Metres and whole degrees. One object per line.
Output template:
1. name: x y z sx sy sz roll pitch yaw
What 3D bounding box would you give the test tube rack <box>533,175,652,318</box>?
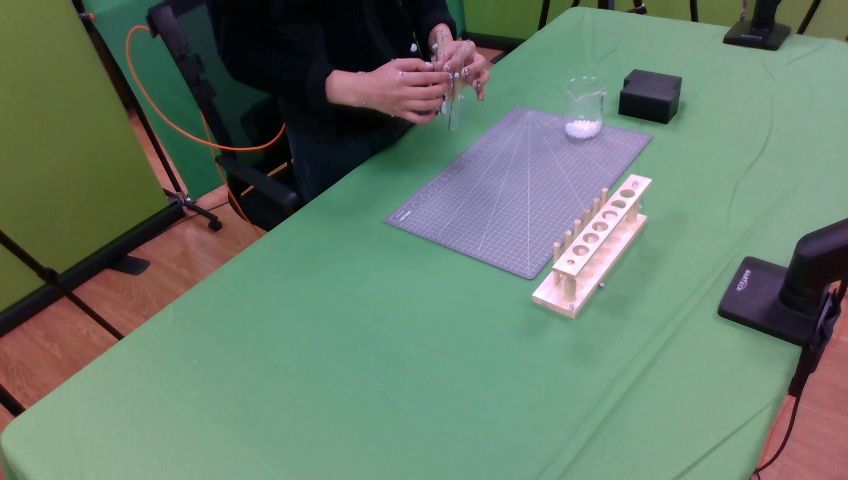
1. test tube rack: 0.250 -0.001 0.889 0.066 0.085 0.243 22 49 33

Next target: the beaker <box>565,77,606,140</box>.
1. beaker: 0.304 -0.247 1.153 0.073 0.101 0.084 15 46 27

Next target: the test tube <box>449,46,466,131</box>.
1. test tube: 0.056 -0.253 1.022 0.017 0.151 0.017 3 35 -2

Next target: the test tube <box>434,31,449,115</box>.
1. test tube: 0.029 -0.276 1.013 0.017 0.151 0.017 -3 43 4
